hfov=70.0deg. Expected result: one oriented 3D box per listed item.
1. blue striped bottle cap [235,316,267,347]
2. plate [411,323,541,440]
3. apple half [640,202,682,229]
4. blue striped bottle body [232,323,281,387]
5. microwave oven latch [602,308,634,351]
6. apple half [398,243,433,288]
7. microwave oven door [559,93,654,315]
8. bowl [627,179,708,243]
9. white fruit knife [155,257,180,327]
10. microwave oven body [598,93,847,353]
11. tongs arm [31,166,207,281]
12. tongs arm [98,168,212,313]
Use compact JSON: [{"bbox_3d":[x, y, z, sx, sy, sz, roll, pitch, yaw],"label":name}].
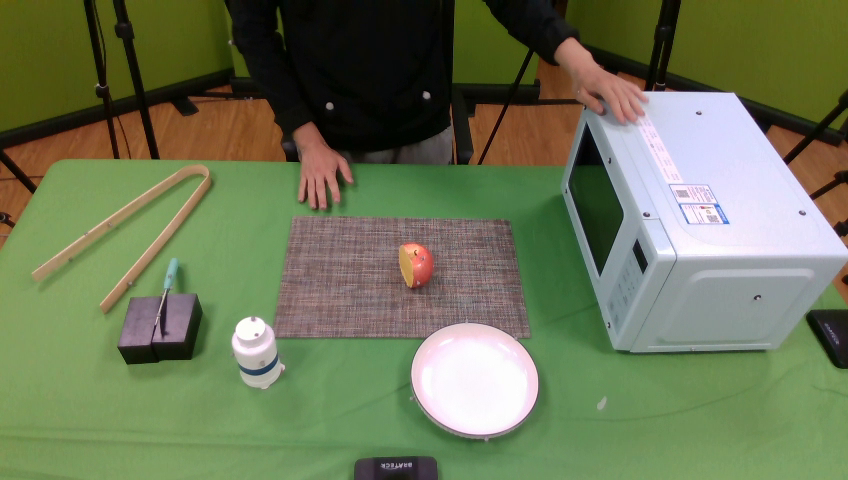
[{"bbox_3d":[-0.259,0.137,0.907,0.044,0.021,0.044,2,43,-2],"label":"blue striped bottle cap"},{"bbox_3d":[0.082,0.228,0.976,0.208,0.039,0.206,2,45,-2],"label":"plate"},{"bbox_3d":[0.455,-0.054,1.161,0.081,0.033,0.081,-4,33,3],"label":"apple half"},{"bbox_3d":[-0.262,0.171,0.944,0.063,0.121,0.062,2,46,-2],"label":"blue striped bottle body"},{"bbox_3d":[0.332,0.153,1.044,0.030,0.029,0.078,-1,45,-4],"label":"microwave oven latch"},{"bbox_3d":[-0.012,0.046,1.115,0.053,0.075,0.080,-11,43,-20],"label":"apple half"},{"bbox_3d":[0.327,-0.074,1.123,0.039,0.245,0.353,-1,46,-5],"label":"microwave oven door"},{"bbox_3d":[0.456,-0.047,1.168,0.151,0.077,0.150,7,36,-5],"label":"bowl"},{"bbox_3d":[-0.440,0.085,1.037,0.016,0.027,0.206,10,26,-19],"label":"white fruit knife"},{"bbox_3d":[0.475,-0.041,1.110,0.326,0.261,0.438,-1,45,-4],"label":"microwave oven body"},{"bbox_3d":[-0.578,-0.040,1.185,0.050,0.026,0.384,23,48,17],"label":"tongs arm"},{"bbox_3d":[-0.504,-0.012,1.167,0.028,0.028,0.385,11,46,11],"label":"tongs arm"}]
